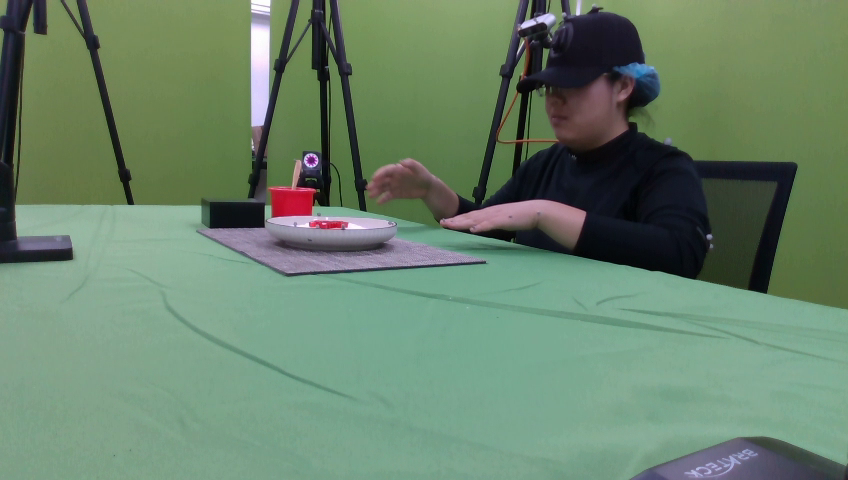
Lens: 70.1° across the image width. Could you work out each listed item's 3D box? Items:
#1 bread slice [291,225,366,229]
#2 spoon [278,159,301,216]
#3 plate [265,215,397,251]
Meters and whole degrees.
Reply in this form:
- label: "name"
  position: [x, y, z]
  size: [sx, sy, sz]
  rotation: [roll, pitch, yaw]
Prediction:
- label: "bread slice"
  position: [-0.154, -0.012, 0.973]
  size: [0.132, 0.019, 0.104]
  rotation: [-1, 7, -31]
- label: "spoon"
  position: [-0.275, -0.108, 1.278]
  size: [0.042, 0.021, 0.193]
  rotation: [3, 51, -3]
- label: "plate"
  position: [-0.147, -0.012, 0.963]
  size: [0.209, 0.038, 0.209]
  rotation: [3, 7, 0]
